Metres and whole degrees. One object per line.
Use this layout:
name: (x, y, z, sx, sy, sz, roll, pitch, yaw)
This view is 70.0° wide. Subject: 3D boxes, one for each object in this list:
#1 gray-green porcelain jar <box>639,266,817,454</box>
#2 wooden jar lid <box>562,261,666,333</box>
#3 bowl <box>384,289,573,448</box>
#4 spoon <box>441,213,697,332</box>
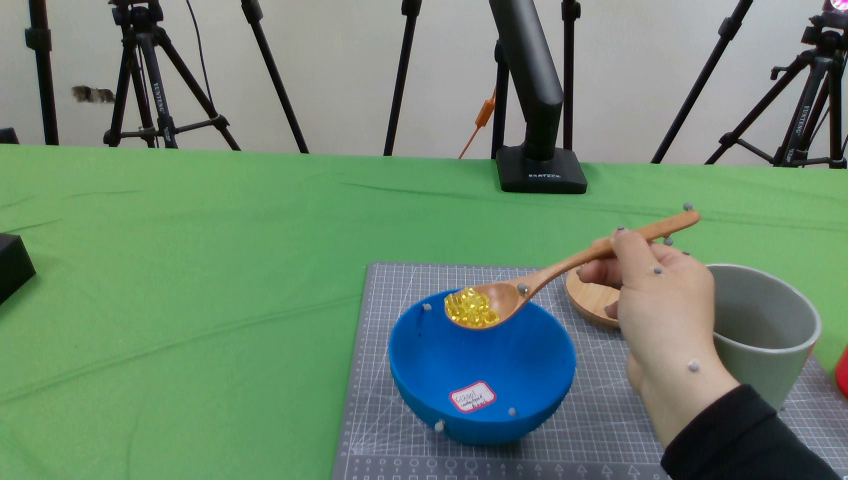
gray-green porcelain jar: (0.239, 0.101, 0.496, 0.106, 0.127, 0.105, 1, 35, -1)
wooden jar lid: (0.201, 0.061, 0.646, 0.108, 0.021, 0.107, 1, 33, -1)
bowl: (0.042, 0.117, 0.503, 0.151, 0.077, 0.150, 2, 35, -1)
spoon: (0.104, 0.020, 0.427, 0.194, 0.022, 0.041, -24, 40, 1)
